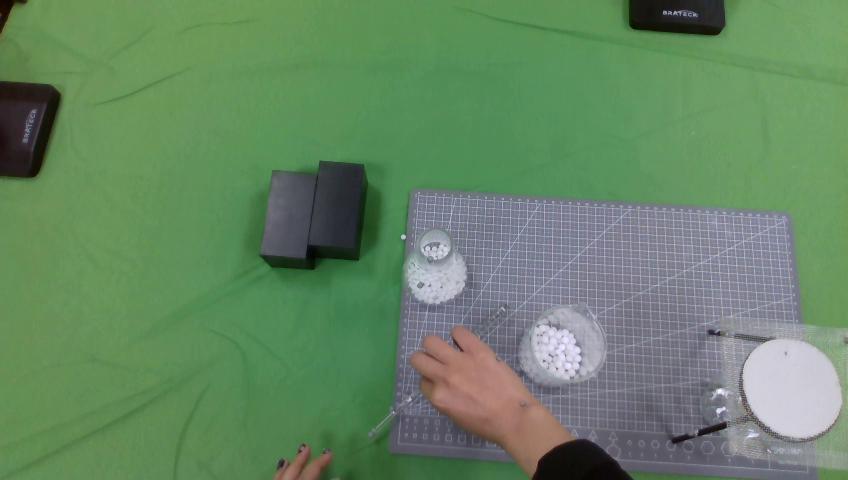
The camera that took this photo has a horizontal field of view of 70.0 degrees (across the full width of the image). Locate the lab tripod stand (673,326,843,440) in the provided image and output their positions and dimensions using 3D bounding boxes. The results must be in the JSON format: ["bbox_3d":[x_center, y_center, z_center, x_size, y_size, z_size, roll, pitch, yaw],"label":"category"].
[{"bbox_3d":[0.321,0.150,0.591,0.148,0.132,0.147,0,75,1],"label":"lab tripod stand"}]

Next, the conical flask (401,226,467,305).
[{"bbox_3d":[0.011,0.021,0.634,0.075,0.122,0.075,0,73,0],"label":"conical flask"}]

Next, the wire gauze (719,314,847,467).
[{"bbox_3d":[0.322,0.129,0.527,0.125,0.011,0.121,6,75,2],"label":"wire gauze"}]

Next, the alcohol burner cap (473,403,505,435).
[{"bbox_3d":[0.069,0.186,0.629,0.034,0.048,0.033,0,74,0],"label":"alcohol burner cap"}]

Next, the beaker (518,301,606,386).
[{"bbox_3d":[0.138,0.109,0.621,0.074,0.101,0.083,26,74,8],"label":"beaker"}]

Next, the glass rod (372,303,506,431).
[{"bbox_3d":[0.019,0.135,0.657,0.199,0.008,0.008,-41,78,-14],"label":"glass rod"}]

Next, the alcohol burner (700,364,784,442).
[{"bbox_3d":[0.322,0.160,0.599,0.078,0.120,0.077,-1,73,3],"label":"alcohol burner"}]
